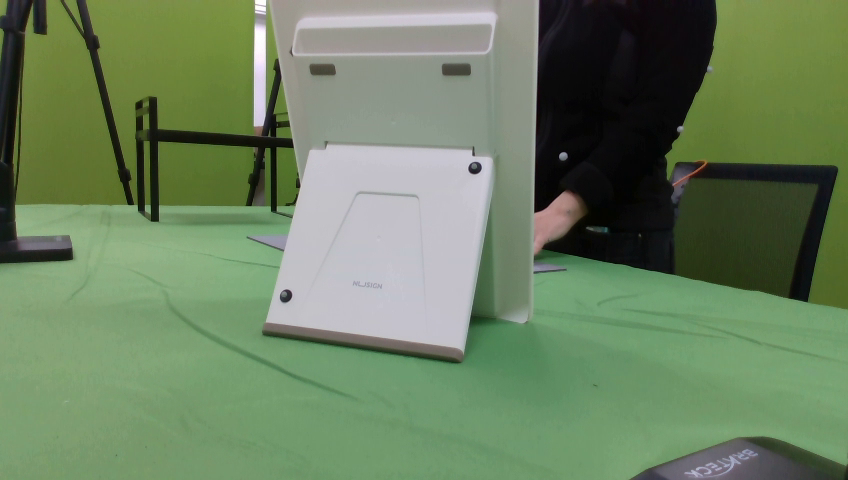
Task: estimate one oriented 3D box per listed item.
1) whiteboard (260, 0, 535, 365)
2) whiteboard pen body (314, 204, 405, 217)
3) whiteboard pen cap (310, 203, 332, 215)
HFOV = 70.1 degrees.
[{"bbox_3d":[-0.037,-0.041,0.457,0.216,0.305,0.144,5,28,19],"label":"whiteboard"},{"bbox_3d":[-0.098,-0.046,0.931,0.141,0.017,0.017,2,8,-14],"label":"whiteboard pen body"},{"bbox_3d":[-0.156,-0.047,0.916,0.033,0.018,0.018,3,7,-15],"label":"whiteboard pen cap"}]
